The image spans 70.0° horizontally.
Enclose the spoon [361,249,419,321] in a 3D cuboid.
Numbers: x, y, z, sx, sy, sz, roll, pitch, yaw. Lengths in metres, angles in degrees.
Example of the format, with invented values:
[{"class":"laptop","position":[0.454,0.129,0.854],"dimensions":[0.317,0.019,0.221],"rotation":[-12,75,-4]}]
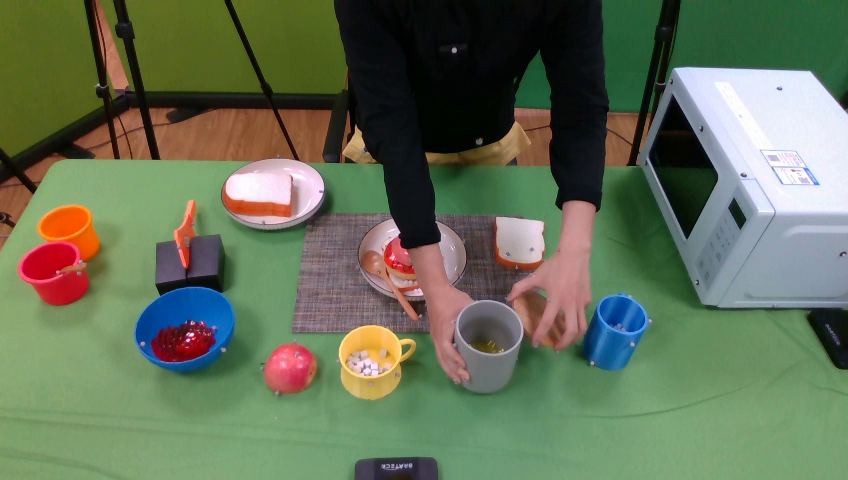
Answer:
[{"class":"spoon","position":[-0.061,0.078,1.077],"dimensions":[0.041,0.022,0.192],"rotation":[-22,43,-19]}]

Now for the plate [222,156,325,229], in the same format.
[{"class":"plate","position":[-0.308,-0.095,1.251],"dimensions":[0.209,0.038,0.208],"rotation":[2,47,-2]}]

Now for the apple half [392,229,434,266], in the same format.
[{"class":"apple half","position":[-0.020,0.005,1.083],"dimensions":[0.081,0.033,0.081],"rotation":[6,49,-7]}]

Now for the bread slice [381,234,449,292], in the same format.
[{"class":"bread slice","position":[-0.027,0.040,1.141],"dimensions":[0.107,0.018,0.133],"rotation":[-12,50,-16]}]

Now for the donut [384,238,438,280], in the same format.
[{"class":"donut","position":[-0.025,0.030,1.109],"dimensions":[0.099,0.048,0.098],"rotation":[2,46,-2]}]

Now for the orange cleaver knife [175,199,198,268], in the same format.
[{"class":"orange cleaver knife","position":[-0.438,-0.017,1.138],"dimensions":[0.012,0.077,0.210],"rotation":[-13,27,-7]}]

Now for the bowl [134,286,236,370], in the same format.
[{"class":"bowl","position":[-0.377,0.155,0.981],"dimensions":[0.151,0.077,0.150],"rotation":[2,46,-2]}]

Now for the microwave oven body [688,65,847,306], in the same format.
[{"class":"microwave oven body","position":[0.669,-0.111,1.176],"dimensions":[0.326,0.261,0.439],"rotation":[0,46,-3]}]

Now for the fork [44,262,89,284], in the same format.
[{"class":"fork","position":[-0.598,0.054,1.014],"dimensions":[0.207,0.019,0.028],"rotation":[-15,29,45]}]

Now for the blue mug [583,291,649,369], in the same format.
[{"class":"blue mug","position":[0.324,0.142,1.023],"dimensions":[0.082,0.106,0.116],"rotation":[15,47,11]}]

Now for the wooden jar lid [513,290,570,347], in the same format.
[{"class":"wooden jar lid","position":[0.189,0.130,0.992],"dimensions":[0.109,0.021,0.107],"rotation":[23,39,-20]}]

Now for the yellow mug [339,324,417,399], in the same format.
[{"class":"yellow mug","position":[-0.072,0.190,0.978],"dimensions":[0.131,0.064,0.099],"rotation":[-17,50,-20]}]

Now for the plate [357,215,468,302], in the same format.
[{"class":"plate","position":[-0.022,0.037,1.141],"dimensions":[0.208,0.039,0.206],"rotation":[2,46,-2]}]

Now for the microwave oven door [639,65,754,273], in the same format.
[{"class":"microwave oven door","position":[0.522,-0.148,1.193],"dimensions":[0.039,0.245,0.353],"rotation":[1,47,-3]}]

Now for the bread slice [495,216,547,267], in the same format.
[{"class":"bread slice","position":[0.194,0.002,1.205],"dimensions":[0.105,0.019,0.131],"rotation":[5,45,3]}]

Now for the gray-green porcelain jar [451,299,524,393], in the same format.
[{"class":"gray-green porcelain jar","position":[0.097,0.174,0.964],"dimensions":[0.106,0.127,0.105],"rotation":[2,46,-1]}]

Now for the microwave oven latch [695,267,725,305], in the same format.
[{"class":"microwave oven latch","position":[0.524,0.082,1.115],"dimensions":[0.030,0.029,0.078],"rotation":[4,46,1]}]

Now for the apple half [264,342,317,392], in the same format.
[{"class":"apple half","position":[-0.214,0.198,0.970],"dimensions":[0.074,0.053,0.080],"rotation":[19,48,10]}]
